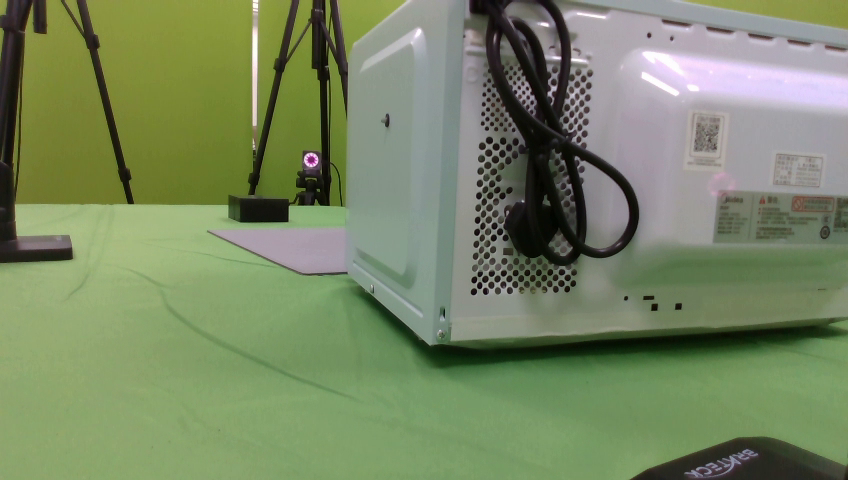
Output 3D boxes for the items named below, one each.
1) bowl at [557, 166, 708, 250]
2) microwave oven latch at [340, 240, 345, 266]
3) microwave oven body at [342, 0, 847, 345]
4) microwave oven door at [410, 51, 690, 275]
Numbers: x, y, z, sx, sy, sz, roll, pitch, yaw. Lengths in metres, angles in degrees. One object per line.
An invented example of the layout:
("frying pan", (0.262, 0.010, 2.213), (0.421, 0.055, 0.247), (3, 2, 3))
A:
("bowl", (0.214, -0.035, 0.640), (0.151, 0.077, 0.151), (2, 11, 0))
("microwave oven latch", (-0.052, 0.016, 0.662), (0.079, 0.029, 0.030), (1, 7, -19))
("microwave oven body", (0.169, -0.060, 0.573), (0.444, 0.260, 0.324), (1, 7, -20))
("microwave oven door", (0.161, -0.084, 0.723), (0.357, 0.243, 0.039), (0, 8, -20))
